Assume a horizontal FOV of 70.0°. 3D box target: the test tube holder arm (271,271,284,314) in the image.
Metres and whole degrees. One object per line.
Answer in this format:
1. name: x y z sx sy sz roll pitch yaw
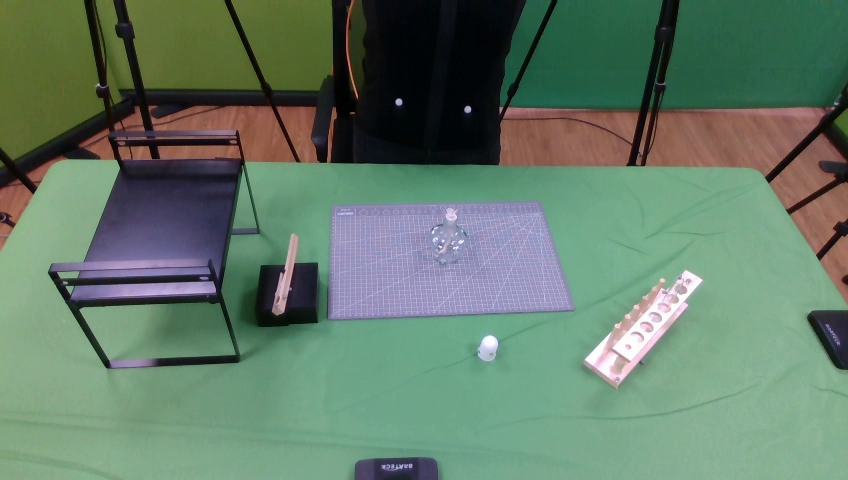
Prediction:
1. test tube holder arm: -0.244 0.087 1.028 0.010 0.015 0.087 -20 42 22

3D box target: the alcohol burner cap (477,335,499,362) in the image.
1. alcohol burner cap: 0.109 0.179 1.017 0.034 0.048 0.033 4 50 -4

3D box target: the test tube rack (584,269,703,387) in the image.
1. test tube rack: 0.380 0.139 1.046 0.066 0.085 0.242 37 54 28

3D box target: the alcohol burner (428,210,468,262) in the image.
1. alcohol burner: 0.048 -0.015 1.146 0.078 0.119 0.077 3 48 -3

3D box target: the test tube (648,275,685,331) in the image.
1. test tube: 0.401 0.109 1.007 0.017 0.151 0.017 1 50 0

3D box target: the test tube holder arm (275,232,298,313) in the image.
1. test tube holder arm: -0.238 0.053 1.057 0.013 0.015 0.177 -21 42 21
